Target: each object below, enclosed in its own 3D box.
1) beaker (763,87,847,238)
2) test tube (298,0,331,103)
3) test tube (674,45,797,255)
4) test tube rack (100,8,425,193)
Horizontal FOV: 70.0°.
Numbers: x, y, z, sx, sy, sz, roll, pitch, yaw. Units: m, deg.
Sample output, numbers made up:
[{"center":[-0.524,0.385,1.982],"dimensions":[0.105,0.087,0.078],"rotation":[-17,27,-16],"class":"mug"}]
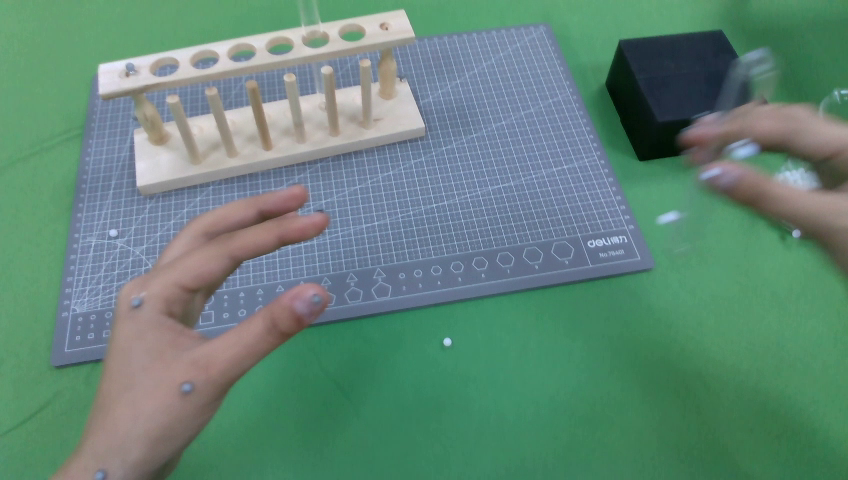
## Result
[{"center":[0.318,-0.057,0.469],"dimensions":[0.074,0.101,0.083],"rotation":[-7,57,-5],"class":"beaker"},{"center":[-0.087,-0.169,0.477],"dimensions":[0.017,0.151,0.017],"rotation":[-1,53,2],"class":"test tube"},{"center":[0.156,-0.036,0.315],"dimensions":[0.017,0.152,0.017],"rotation":[-3,56,4],"class":"test tube"},{"center":[-0.123,-0.115,0.501],"dimensions":[0.243,0.086,0.066],"rotation":[-14,59,-10],"class":"test tube rack"}]
